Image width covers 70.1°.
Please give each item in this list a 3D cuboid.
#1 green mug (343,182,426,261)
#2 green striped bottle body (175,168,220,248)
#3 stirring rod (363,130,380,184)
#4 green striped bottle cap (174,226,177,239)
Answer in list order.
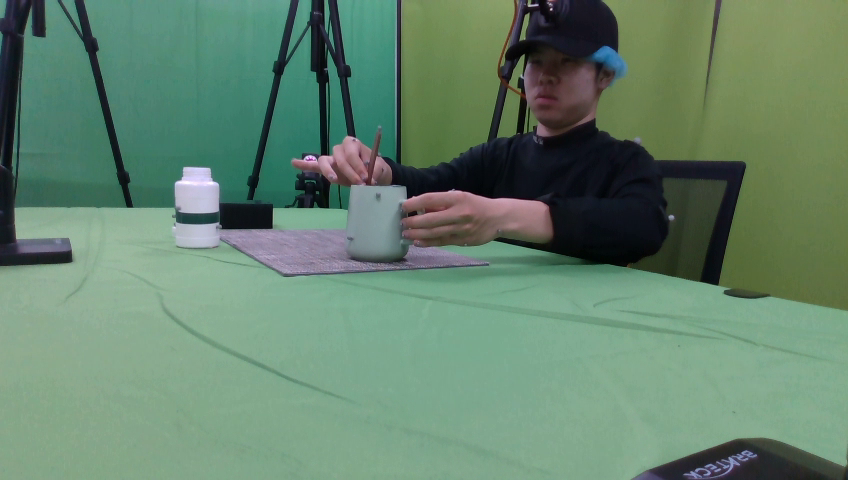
[{"bbox_3d":[-0.053,-0.026,0.848,0.125,0.105,0.093,6,8,29],"label":"green mug"},{"bbox_3d":[-0.345,-0.050,0.924,0.063,0.119,0.063,2,7,0],"label":"green striped bottle body"},{"bbox_3d":[-0.084,-0.069,0.852,0.006,0.176,0.014,11,4,-32],"label":"stirring rod"},{"bbox_3d":[-0.405,-0.015,1.036,0.044,0.020,0.044,-1,9,0],"label":"green striped bottle cap"}]
